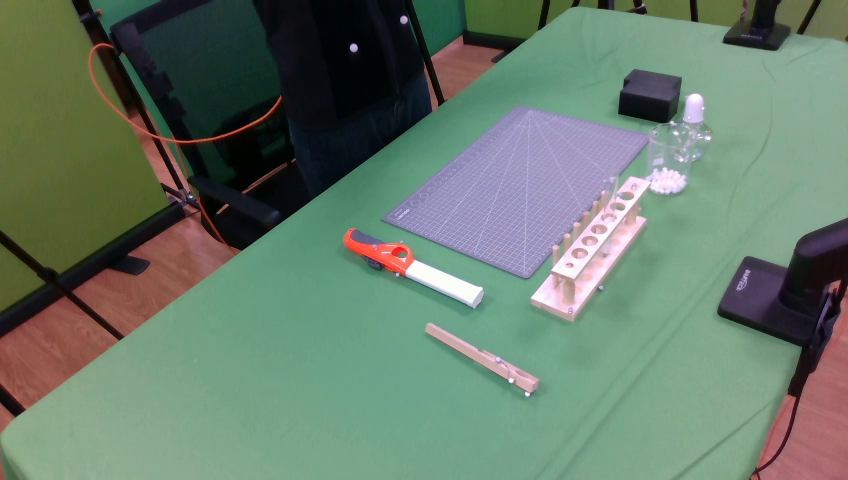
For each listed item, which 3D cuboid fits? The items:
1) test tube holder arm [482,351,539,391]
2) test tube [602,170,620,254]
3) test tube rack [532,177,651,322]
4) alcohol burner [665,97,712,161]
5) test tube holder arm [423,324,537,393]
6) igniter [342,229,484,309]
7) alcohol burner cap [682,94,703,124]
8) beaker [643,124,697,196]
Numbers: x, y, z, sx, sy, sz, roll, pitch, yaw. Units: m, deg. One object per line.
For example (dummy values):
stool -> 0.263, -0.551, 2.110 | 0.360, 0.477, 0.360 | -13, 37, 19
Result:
test tube holder arm -> 0.107, 0.166, 0.769 | 0.087, 0.015, 0.010 | 24, 16, 34
test tube -> 0.261, -0.035, 0.848 | 0.017, 0.151, 0.017 | -6, 44, 6
test tube rack -> 0.247, 0.002, 0.883 | 0.066, 0.085, 0.243 | 22, 49, 32
alcohol burner -> 0.465, -0.198, 1.057 | 0.078, 0.119, 0.077 | -4, 41, 4
test tube holder arm -> 0.069, 0.151, 0.789 | 0.177, 0.015, 0.013 | 23, 16, 33
igniter -> -0.027, 0.039, 0.936 | 0.274, 0.025, 0.057 | 23, 59, 32
alcohol burner cap -> 0.460, -0.225, 1.033 | 0.034, 0.048, 0.033 | -8, 34, 6
beaker -> 0.407, -0.132, 1.001 | 0.084, 0.101, 0.073 | -20, 42, -13
